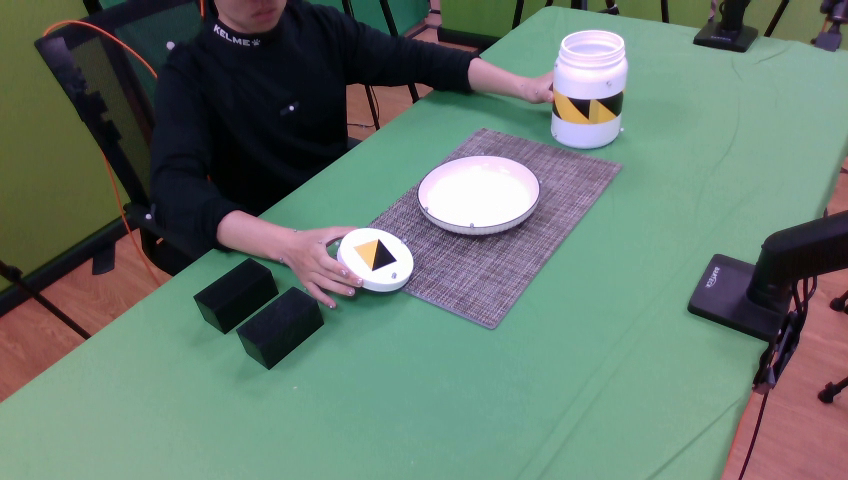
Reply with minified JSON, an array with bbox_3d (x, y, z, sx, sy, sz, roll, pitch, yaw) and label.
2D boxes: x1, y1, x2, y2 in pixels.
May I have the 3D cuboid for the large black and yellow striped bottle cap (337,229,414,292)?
[{"bbox_3d":[-0.071,0.029,0.899,0.115,0.019,0.114,15,40,-13],"label":"large black and yellow striped bottle cap"}]

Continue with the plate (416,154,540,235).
[{"bbox_3d":[0.090,-0.074,1.025,0.207,0.039,0.206,-4,41,4],"label":"plate"}]

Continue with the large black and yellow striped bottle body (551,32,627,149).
[{"bbox_3d":[0.305,-0.278,1.125,0.131,0.185,0.130,-4,41,4],"label":"large black and yellow striped bottle body"}]
